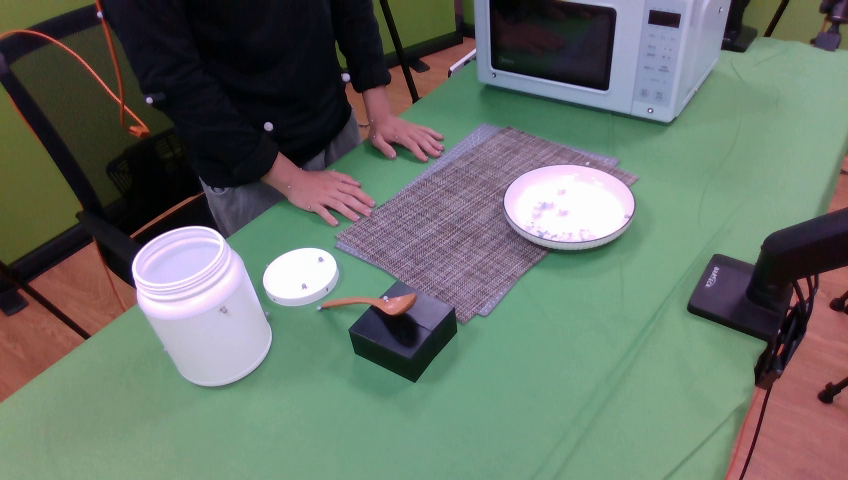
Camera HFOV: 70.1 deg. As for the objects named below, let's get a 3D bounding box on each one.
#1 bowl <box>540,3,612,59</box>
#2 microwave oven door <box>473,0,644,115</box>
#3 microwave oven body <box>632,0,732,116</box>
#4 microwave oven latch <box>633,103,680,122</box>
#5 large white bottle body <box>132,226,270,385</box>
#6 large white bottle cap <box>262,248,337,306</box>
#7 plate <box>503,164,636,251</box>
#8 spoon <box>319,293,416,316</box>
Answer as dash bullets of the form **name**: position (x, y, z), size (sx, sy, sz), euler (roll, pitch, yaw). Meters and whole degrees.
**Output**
- **bowl**: position (0.323, -0.441, 1.298), size (0.151, 0.077, 0.150), euler (-4, 41, 4)
- **microwave oven door**: position (0.257, -0.396, 1.199), size (0.353, 0.245, 0.039), euler (21, 48, 29)
- **microwave oven body**: position (0.377, -0.462, 1.267), size (0.438, 0.261, 0.327), euler (21, 48, 30)
- **microwave oven latch**: position (0.444, -0.249, 1.157), size (0.078, 0.029, 0.030), euler (21, 48, 30)
- **large white bottle body**: position (-0.286, 0.085, 0.784), size (0.130, 0.185, 0.130), euler (-4, 41, 4)
- **large white bottle cap**: position (-0.192, 0.056, 0.934), size (0.115, 0.018, 0.114), euler (-4, 41, 4)
- **plate**: position (0.232, -0.050, 0.976), size (0.209, 0.038, 0.208), euler (-3, 41, 3)
- **spoon**: position (-0.082, 0.086, 0.826), size (0.192, 0.022, 0.041), euler (-3, 36, 41)
